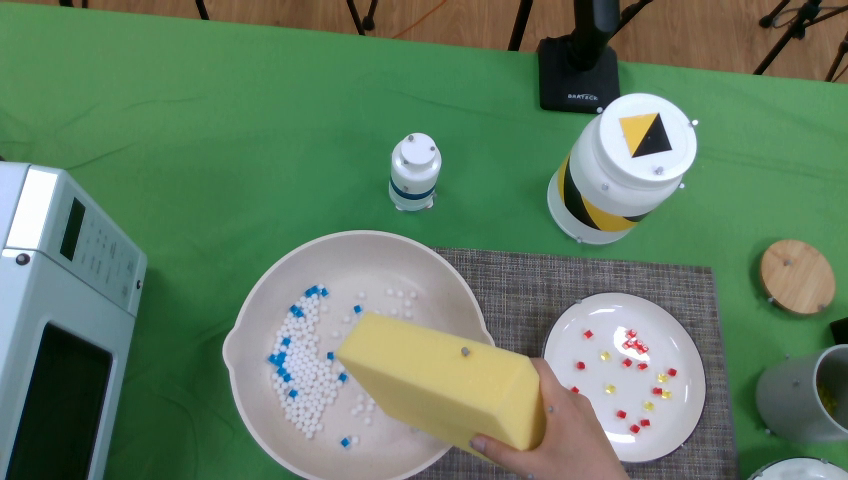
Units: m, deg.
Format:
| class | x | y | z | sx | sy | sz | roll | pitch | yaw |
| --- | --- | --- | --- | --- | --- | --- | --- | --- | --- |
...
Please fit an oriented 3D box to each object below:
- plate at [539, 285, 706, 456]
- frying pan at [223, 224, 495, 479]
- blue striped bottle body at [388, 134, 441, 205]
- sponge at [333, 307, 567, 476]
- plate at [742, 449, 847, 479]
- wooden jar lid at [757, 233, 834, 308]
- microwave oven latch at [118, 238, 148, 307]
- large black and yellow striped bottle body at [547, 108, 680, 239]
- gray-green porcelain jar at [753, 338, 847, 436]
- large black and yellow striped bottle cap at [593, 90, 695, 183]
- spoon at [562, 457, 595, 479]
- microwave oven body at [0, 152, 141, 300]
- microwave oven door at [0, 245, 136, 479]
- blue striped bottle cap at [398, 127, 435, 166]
| class | x | y | z | sx | sy | sz | roll | pitch | yaw |
| --- | --- | --- | --- | --- | --- | --- | --- | --- | --- |
| plate | 0.243 | 0.160 | 0.757 | 0.209 | 0.038 | 0.207 | 2 | 71 | -5 |
| frying pan | -0.074 | 0.218 | 0.666 | 0.307 | 0.103 | 0.483 | 2 | 62 | -3 |
| blue striped bottle body | -0.013 | -0.096 | 0.777 | 0.063 | 0.121 | 0.062 | 2 | 70 | -6 |
| sponge | 0.021 | 0.142 | 0.593 | 0.205 | 0.119 | 0.060 | 10 | 53 | 42 |
| plate | 0.457 | 0.356 | 0.718 | 0.208 | 0.039 | 0.206 | 2 | 70 | -6 |
| wooden jar lid | 0.513 | 0.044 | 0.843 | 0.108 | 0.021 | 0.107 | 2 | 72 | -5 |
| microwave oven latch | -0.349 | 0.037 | 0.716 | 0.030 | 0.029 | 0.078 | 6 | 71 | -5 |
| large black and yellow striped bottle body | 0.243 | -0.091 | 0.772 | 0.131 | 0.185 | 0.130 | 2 | 70 | -5 |
| gray-green porcelain jar | 0.476 | 0.182 | 0.733 | 0.106 | 0.127 | 0.105 | 2 | 70 | -6 |
| large black and yellow striped bottle cap | 0.251 | -0.120 | 0.691 | 0.115 | 0.019 | 0.114 | 2 | 69 | -5 |
| spoon | 0.232 | 0.331 | 0.706 | 0.193 | 0.022 | 0.041 | 43 | 54 | 8 |
| microwave oven body | -0.495 | 0.158 | 0.553 | 0.326 | 0.261 | 0.439 | 5 | 71 | -5 |
| microwave oven door | -0.352 | 0.208 | 0.547 | 0.039 | 0.245 | 0.353 | 4 | 70 | -5 |
| blue striped bottle cap | -0.008 | -0.113 | 0.728 | 0.044 | 0.021 | 0.044 | 2 | 67 | -4 |
